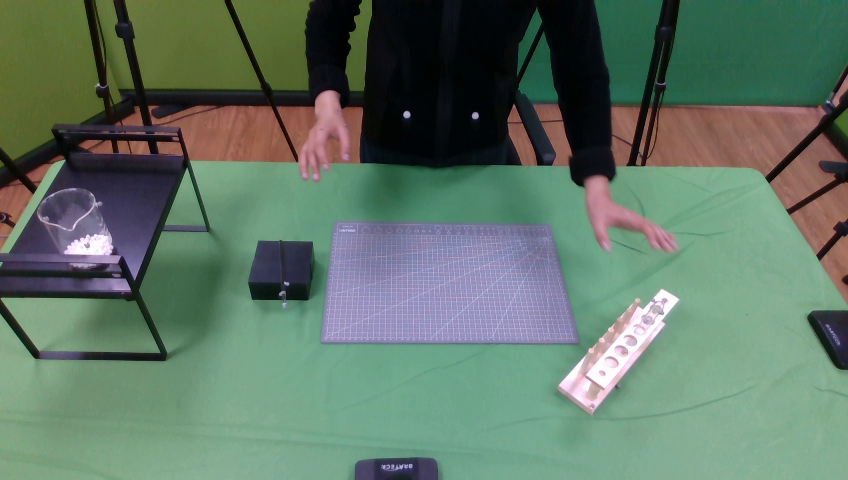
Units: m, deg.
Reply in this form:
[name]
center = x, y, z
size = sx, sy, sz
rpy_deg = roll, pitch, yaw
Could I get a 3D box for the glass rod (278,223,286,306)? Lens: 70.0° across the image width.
[glass rod]
center = -0.254, 0.039, 1.081
size = 0.008, 0.008, 0.198
rpy_deg = -6, 47, -10

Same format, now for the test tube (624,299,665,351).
[test tube]
center = 0.350, 0.140, 0.970
size = 0.017, 0.151, 0.017
rpy_deg = 3, 52, -3

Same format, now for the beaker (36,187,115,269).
[beaker]
center = -0.493, -0.012, 0.867
size = 0.074, 0.101, 0.083
rpy_deg = -18, 51, -19

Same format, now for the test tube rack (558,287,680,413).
[test tube rack]
center = 0.326, 0.170, 1.009
size = 0.066, 0.085, 0.242
rpy_deg = 36, 54, 26
